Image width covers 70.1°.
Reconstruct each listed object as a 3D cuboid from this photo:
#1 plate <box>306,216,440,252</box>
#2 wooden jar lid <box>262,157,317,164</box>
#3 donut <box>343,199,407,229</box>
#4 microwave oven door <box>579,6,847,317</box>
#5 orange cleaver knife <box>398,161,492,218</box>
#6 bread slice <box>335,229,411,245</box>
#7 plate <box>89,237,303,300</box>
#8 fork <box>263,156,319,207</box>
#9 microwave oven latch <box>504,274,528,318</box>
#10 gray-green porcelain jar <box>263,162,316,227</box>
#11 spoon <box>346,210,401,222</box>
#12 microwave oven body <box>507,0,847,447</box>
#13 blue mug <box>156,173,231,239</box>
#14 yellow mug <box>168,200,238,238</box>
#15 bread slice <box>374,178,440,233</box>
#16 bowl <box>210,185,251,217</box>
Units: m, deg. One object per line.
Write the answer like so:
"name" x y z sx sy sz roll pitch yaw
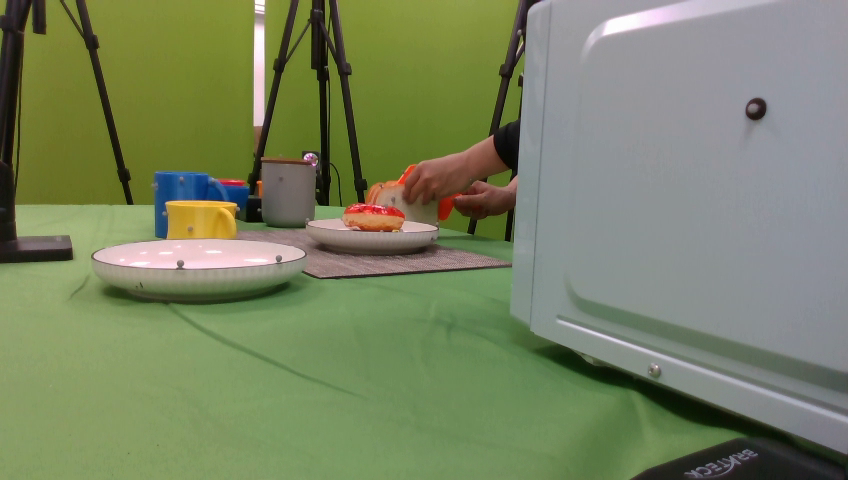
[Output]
"plate" -0.080 -0.011 0.949 0.209 0.038 0.209 2 8 0
"wooden jar lid" -0.269 -0.154 1.208 0.108 0.020 0.108 3 4 0
"donut" -0.077 -0.039 0.948 0.099 0.048 0.099 2 4 0
"microwave oven door" 0.294 -0.067 0.570 0.358 0.243 0.039 -3 9 -31
"orange cleaver knife" 0.040 -0.084 1.173 0.212 0.077 0.012 23 -6 -25
"bread slice" -0.075 -0.005 0.937 0.105 0.019 0.131 -2 4 -19
"plate" -0.233 0.029 0.637 0.208 0.039 0.207 2 7 0
"fork" -0.331 -0.144 1.506 0.207 0.018 0.028 -42 -21 22
"microwave oven latch" 0.100 0.041 0.471 0.079 0.029 0.030 -1 8 -28
"gray-green porcelain jar" -0.271 -0.092 1.217 0.106 0.126 0.106 2 7 0
"spoon" -0.121 -0.060 1.400 0.042 0.021 0.192 -28 25 -37
"microwave oven body" 0.331 -0.042 0.425 0.444 0.260 0.324 -2 8 -31
"blue mug" -0.381 -0.057 1.004 0.117 0.106 0.082 0 8 -12
"yellow mug" -0.320 -0.023 0.904 0.130 0.064 0.100 9 11 36
"bread slice" -0.030 -0.060 1.135 0.135 0.107 0.018 -6 10 -25
"bowl" -0.408 -0.064 1.155 0.151 0.077 0.151 2 8 0
